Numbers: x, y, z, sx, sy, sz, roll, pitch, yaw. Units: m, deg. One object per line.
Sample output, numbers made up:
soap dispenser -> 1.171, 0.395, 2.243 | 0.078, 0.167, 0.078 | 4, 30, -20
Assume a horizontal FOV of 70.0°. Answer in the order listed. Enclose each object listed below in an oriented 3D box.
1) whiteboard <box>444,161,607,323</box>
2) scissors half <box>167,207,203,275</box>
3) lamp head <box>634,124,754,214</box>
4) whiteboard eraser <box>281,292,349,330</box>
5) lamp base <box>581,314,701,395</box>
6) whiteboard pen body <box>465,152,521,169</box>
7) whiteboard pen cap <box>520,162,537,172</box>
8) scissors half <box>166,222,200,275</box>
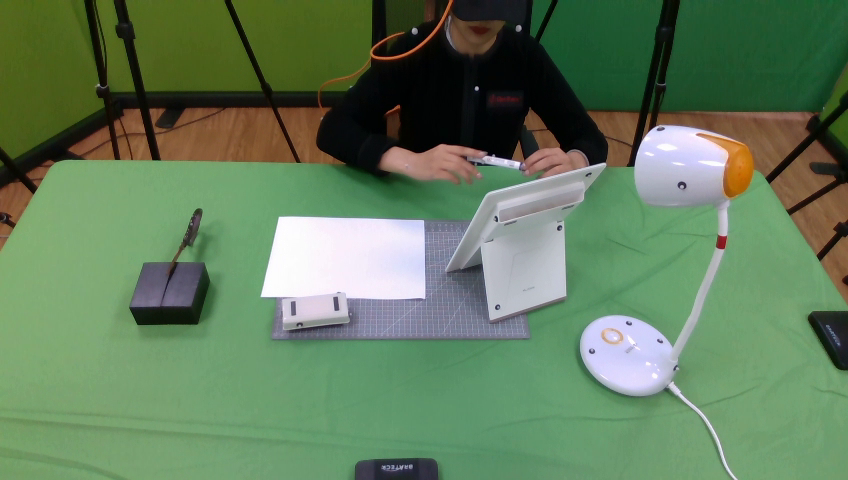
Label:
whiteboard -> 0.186, 0.025, 1.029 | 0.217, 0.306, 0.143 | -14, 68, -18
scissors half -> -0.436, 0.000, 1.104 | 0.013, 0.040, 0.174 | 21, 44, -14
lamp head -> 0.351, -0.089, 0.776 | 0.112, 0.113, 0.122 | -30, 30, -28
whiteboard eraser -> -0.189, 0.124, 1.045 | 0.113, 0.042, 0.055 | -6, 46, -10
lamp base -> 0.361, 0.144, 0.973 | 0.178, 0.181, 0.160 | 34, 53, 23
whiteboard pen body -> 0.149, -0.155, 1.200 | 0.140, 0.017, 0.017 | 12, 46, 16
whiteboard pen cap -> 0.203, -0.143, 1.183 | 0.033, 0.018, 0.018 | 13, 47, 16
scissors half -> -0.444, 0.015, 1.116 | 0.013, 0.040, 0.174 | 16, 27, -10
